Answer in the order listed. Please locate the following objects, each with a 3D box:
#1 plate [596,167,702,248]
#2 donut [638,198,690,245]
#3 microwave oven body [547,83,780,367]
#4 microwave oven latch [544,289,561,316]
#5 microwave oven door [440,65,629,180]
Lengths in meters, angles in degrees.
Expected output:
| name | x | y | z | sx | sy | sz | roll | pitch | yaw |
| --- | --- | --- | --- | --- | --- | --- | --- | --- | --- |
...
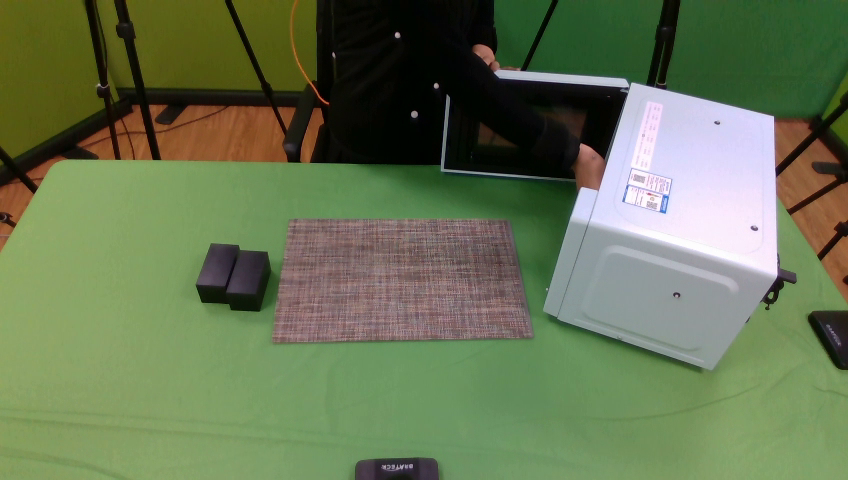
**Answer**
| name | x | y | z | sx | sy | sz | roll | pitch | yaw |
| --- | --- | --- | --- | --- | --- | --- | --- | --- | --- |
| plate | 0.431 | -0.060 | 1.177 | 0.209 | 0.038 | 0.208 | 7 | 48 | -7 |
| donut | 0.459 | -0.036 | 1.160 | 0.099 | 0.048 | 0.098 | 2 | 64 | -5 |
| microwave oven body | 0.445 | -0.041 | 1.101 | 0.325 | 0.261 | 0.440 | 17 | 47 | 13 |
| microwave oven latch | 0.237 | 0.098 | 1.087 | 0.030 | 0.029 | 0.079 | 17 | 47 | 14 |
| microwave oven door | 0.219 | -0.240 | 1.267 | 0.356 | 0.245 | 0.039 | 4 | 46 | 0 |
